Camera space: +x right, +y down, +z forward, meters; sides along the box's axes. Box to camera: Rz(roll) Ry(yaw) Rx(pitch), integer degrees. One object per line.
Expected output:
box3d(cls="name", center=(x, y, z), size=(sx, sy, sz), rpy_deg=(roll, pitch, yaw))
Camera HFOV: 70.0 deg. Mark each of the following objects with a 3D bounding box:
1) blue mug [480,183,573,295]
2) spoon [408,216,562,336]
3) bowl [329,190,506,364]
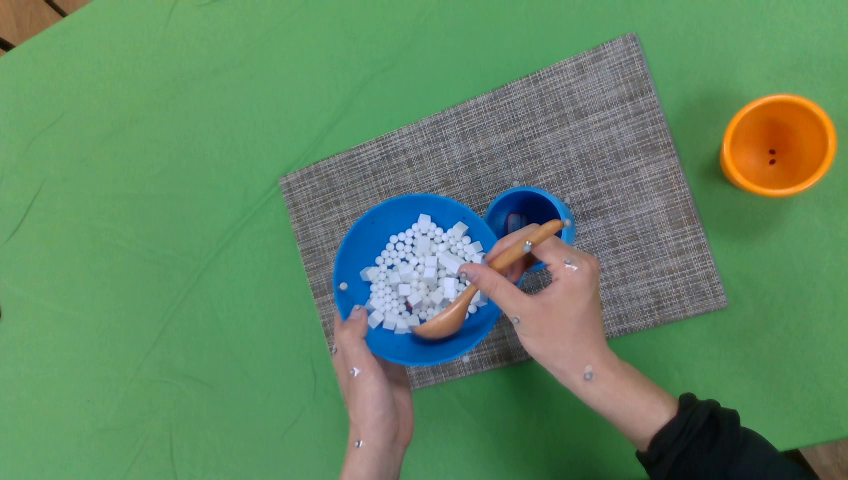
box3d(cls="blue mug", center=(0.102, 0.002, 0.623), size=(0.082, 0.106, 0.116), rpy_deg=(21, 98, 16))
box3d(cls="spoon", center=(0.042, 0.034, 0.474), size=(0.194, 0.042, 0.021), rpy_deg=(-51, 44, 44))
box3d(cls="bowl", center=(-0.005, 0.037, 0.549), size=(0.151, 0.077, 0.150), rpy_deg=(0, 78, -1))
